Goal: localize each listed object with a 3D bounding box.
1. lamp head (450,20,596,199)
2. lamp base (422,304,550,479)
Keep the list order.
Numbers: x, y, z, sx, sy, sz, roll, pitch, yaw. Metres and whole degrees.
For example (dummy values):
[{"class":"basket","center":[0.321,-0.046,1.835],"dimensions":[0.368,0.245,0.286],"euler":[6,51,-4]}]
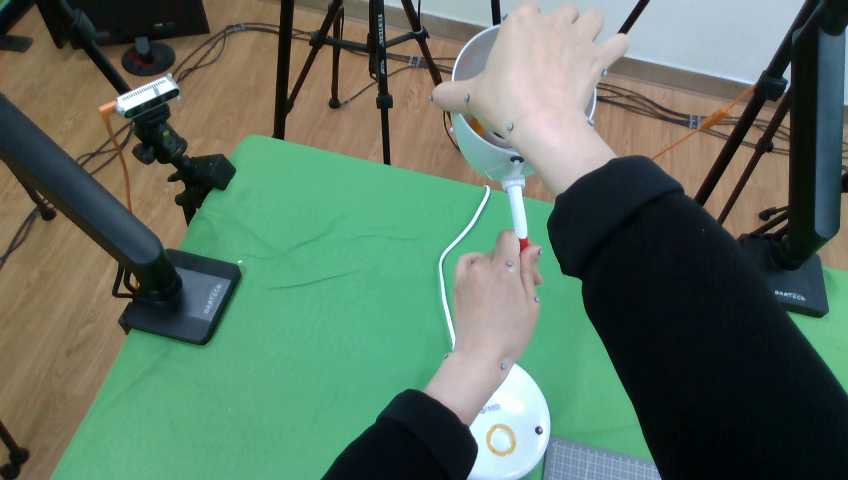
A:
[{"class":"lamp head","center":[0.073,-0.098,0.506],"dimensions":[0.112,0.123,0.111],"euler":[1,69,-2]},{"class":"lamp base","center":[0.077,0.163,0.693],"dimensions":[0.161,0.181,0.177],"euler":[-22,59,-19]}]
